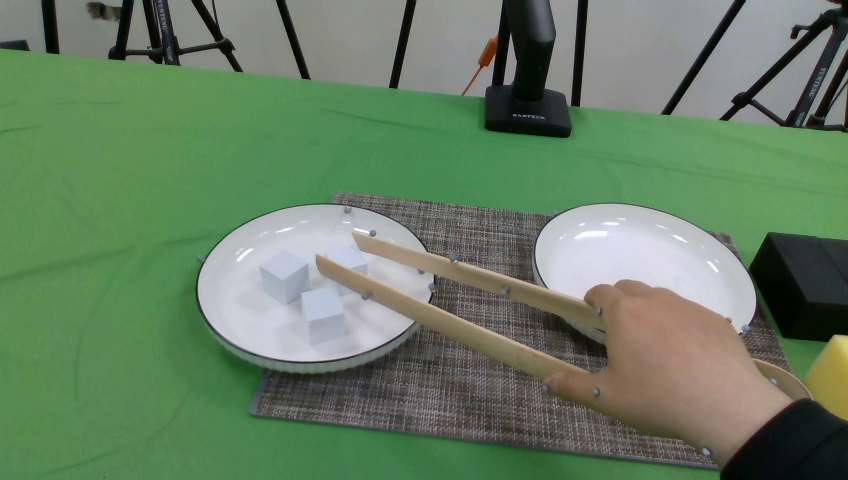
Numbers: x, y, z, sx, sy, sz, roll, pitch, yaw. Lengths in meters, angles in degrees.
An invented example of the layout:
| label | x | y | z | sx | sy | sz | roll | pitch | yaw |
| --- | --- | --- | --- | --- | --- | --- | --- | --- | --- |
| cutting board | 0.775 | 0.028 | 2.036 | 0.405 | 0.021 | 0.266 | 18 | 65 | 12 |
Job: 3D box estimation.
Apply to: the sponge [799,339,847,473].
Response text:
| label | x | y | z | sx | sy | sz | roll | pitch | yaw |
| --- | --- | --- | --- | --- | --- | --- | --- | --- | --- |
| sponge | 0.386 | 0.172 | 0.440 | 0.118 | 0.061 | 0.205 | 4 | 40 | -2 |

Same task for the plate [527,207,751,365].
| label | x | y | z | sx | sy | sz | roll | pitch | yaw |
| --- | --- | --- | --- | --- | --- | --- | --- | --- | --- |
| plate | 0.201 | 0.044 | 0.587 | 0.208 | 0.039 | 0.205 | 4 | 39 | -3 |

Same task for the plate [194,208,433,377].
| label | x | y | z | sx | sy | sz | roll | pitch | yaw |
| --- | --- | --- | --- | --- | --- | --- | --- | --- | --- |
| plate | -0.096 | 0.046 | 0.549 | 0.209 | 0.038 | 0.207 | 4 | 39 | -3 |

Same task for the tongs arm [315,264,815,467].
| label | x | y | z | sx | sy | sz | roll | pitch | yaw |
| --- | --- | --- | --- | --- | --- | --- | --- | --- | --- |
| tongs arm | 0.058 | 0.075 | 0.440 | 0.384 | 0.028 | 0.028 | 17 | 41 | 34 |

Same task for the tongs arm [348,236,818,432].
| label | x | y | z | sx | sy | sz | roll | pitch | yaw |
| --- | --- | --- | --- | --- | --- | --- | --- | --- | --- |
| tongs arm | 0.076 | 0.058 | 0.456 | 0.382 | 0.027 | 0.050 | 15 | 44 | 32 |
